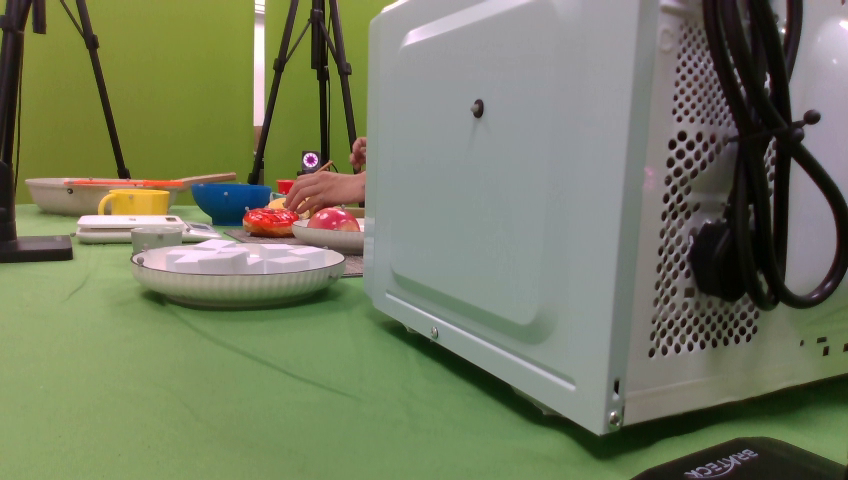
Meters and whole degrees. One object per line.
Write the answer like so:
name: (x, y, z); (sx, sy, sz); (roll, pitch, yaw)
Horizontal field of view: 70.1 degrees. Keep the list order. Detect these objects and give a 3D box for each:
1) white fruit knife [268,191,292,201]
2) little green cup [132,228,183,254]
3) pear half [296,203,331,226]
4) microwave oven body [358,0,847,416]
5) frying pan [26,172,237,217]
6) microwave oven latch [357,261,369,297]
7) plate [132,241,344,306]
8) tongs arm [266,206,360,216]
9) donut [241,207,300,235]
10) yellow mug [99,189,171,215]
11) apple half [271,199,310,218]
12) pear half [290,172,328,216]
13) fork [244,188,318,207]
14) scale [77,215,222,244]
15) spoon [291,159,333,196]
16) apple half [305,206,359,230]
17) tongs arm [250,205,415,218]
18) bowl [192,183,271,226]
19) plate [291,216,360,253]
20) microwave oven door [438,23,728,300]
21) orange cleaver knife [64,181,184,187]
white fruit knife: (-0.364, -0.105, 1.464); (0.208, 0.027, 0.016); (15, -1, -34)
little green cup: (-0.342, 0.006, 0.779); (0.061, 0.038, 0.061); (2, 8, 0)
pear half: (-0.229, -0.049, 1.258); (0.070, 0.031, 0.088); (0, 23, -3)
microwave oven body: (0.211, -0.047, 0.474); (0.444, 0.260, 0.324); (-1, 7, -28)
frying pan: (-0.624, -0.118, 1.387); (0.305, 0.102, 0.490); (8, 17, 32)
microwave oven latch: (-0.019, 0.033, 0.530); (0.079, 0.029, 0.030); (-1, 7, -27)
plate: (-0.187, 0.033, 0.625); (0.208, 0.039, 0.207); (2, 8, 0)
tongs arm: (-0.174, -0.061, 1.362); (0.387, 0.026, 0.050); (-1, 3, -31)
donut: (-0.263, -0.031, 1.039); (0.099, 0.048, 0.099); (4, 9, 0)
yellow mug: (-0.518, -0.055, 1.080); (0.099, 0.064, 0.131); (6, 9, 26)
apple half: (-0.254, -0.039, 1.143); (0.081, 0.032, 0.081); (17, 46, -18)
pear half: (-0.228, -0.078, 1.183); (0.076, 0.110, 0.056); (-2, 8, 2)
fork: (-0.356, -0.105, 1.526); (0.208, 0.018, 0.028); (16, -5, -41)
scale: (-0.434, -0.019, 0.963); (0.202, 0.031, 0.148); (-1, 9, -27)
spoon: (-0.316, -0.159, 1.640); (0.194, 0.022, 0.041); (-49, 32, -20)
apple half: (-0.137, -0.024, 0.914); (0.081, 0.053, 0.074); (1, 9, -37)
tongs arm: (-0.211, -0.067, 1.440); (0.389, 0.027, 0.028); (0, -1, -17)
bowl: (-0.382, -0.070, 1.202); (0.151, 0.077, 0.151); (3, 7, 0)
plate: (-0.103, -0.010, 0.945); (0.209, 0.038, 0.209); (2, 8, 0)
microwave oven door: (0.181, -0.073, 0.621); (0.358, 0.243, 0.039); (-2, 8, -29)
orange cleaver knife: (-0.596, -0.113, 1.212); (0.212, 0.012, 0.077); (-3, 7, -41)
